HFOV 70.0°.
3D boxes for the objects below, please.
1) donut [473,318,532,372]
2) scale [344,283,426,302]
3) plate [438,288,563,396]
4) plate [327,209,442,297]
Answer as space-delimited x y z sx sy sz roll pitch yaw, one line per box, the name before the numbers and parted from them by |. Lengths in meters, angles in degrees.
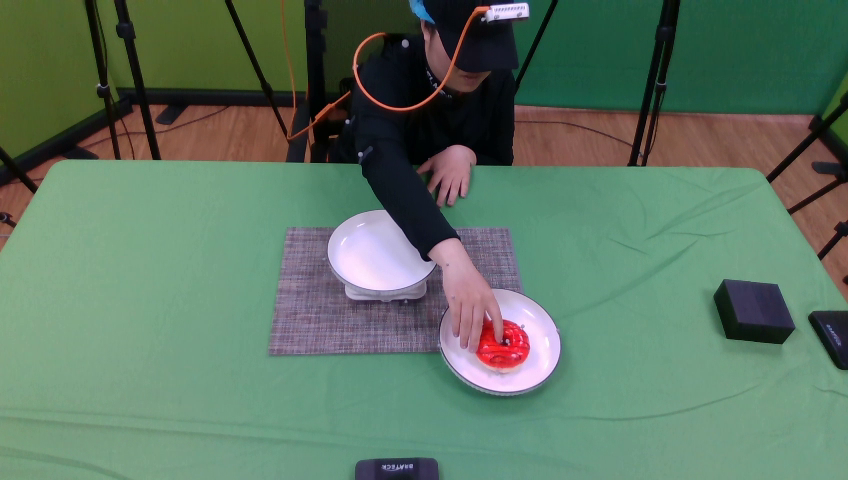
donut | 0.130 0.174 1.010 0.099 0.048 0.098 0 47 1
scale | -0.075 0.033 1.149 0.149 0.032 0.199 0 46 -5
plate | 0.128 0.173 1.025 0.209 0.038 0.208 3 48 -3
plate | -0.071 0.027 1.110 0.208 0.039 0.206 2 46 -1
